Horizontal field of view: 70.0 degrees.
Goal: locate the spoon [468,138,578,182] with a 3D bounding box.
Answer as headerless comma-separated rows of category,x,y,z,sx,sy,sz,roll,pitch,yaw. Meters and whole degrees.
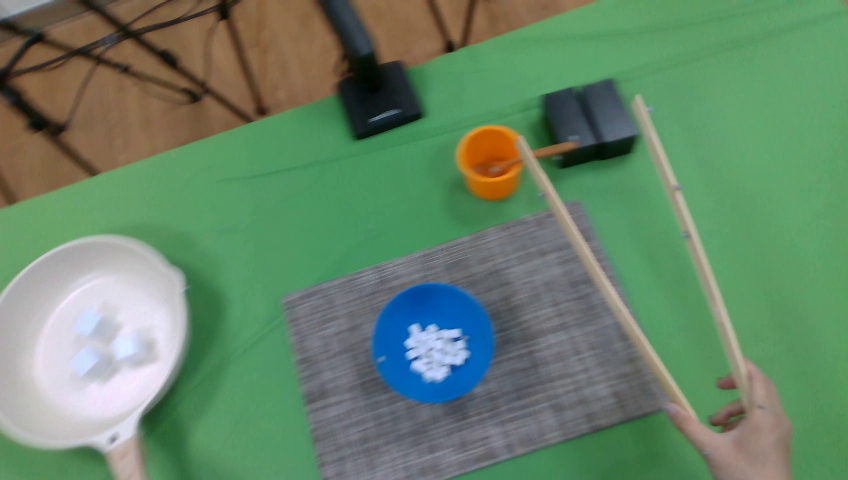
spoon,0.128,-0.110,0.819,0.022,0.193,0.041,31,67,-28

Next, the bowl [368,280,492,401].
bowl,0.012,0.133,0.769,0.151,0.077,0.150,-2,68,6

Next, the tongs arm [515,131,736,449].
tongs arm,0.198,0.046,0.634,0.028,0.028,0.385,-26,78,-13

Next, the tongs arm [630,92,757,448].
tongs arm,0.271,0.020,0.642,0.051,0.026,0.382,-15,77,-7

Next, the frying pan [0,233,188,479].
frying pan,-0.408,0.209,0.781,0.307,0.104,0.482,-31,59,-5
